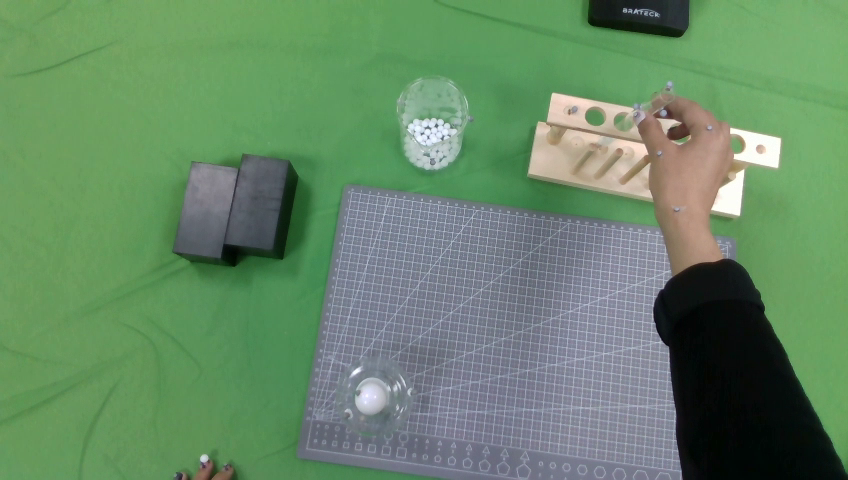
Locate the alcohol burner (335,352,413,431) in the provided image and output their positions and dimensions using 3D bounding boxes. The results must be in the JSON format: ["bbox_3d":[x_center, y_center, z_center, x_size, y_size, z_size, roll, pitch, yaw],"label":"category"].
[{"bbox_3d":[-0.049,0.148,0.591,0.078,0.119,0.077,1,77,-3],"label":"alcohol burner"}]

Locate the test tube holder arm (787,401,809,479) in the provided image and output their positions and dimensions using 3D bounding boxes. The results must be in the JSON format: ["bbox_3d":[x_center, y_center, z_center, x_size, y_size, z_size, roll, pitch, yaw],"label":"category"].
[{"bbox_3d":[0.390,0.212,0.641,0.010,0.015,0.087,26,78,-27],"label":"test tube holder arm"}]

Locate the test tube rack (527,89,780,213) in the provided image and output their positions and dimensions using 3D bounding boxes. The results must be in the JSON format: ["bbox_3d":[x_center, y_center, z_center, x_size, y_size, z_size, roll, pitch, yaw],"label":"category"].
[{"bbox_3d":[0.244,-0.095,0.666,0.242,0.085,0.066,12,78,1],"label":"test tube rack"}]

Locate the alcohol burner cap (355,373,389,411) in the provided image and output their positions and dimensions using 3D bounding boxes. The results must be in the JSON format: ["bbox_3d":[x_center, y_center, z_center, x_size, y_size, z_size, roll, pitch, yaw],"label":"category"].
[{"bbox_3d":[-0.049,0.142,0.556,0.034,0.048,0.034,0,84,-1],"label":"alcohol burner cap"}]

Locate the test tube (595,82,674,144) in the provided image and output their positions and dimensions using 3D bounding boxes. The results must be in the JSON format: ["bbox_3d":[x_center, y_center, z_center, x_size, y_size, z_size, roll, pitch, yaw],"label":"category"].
[{"bbox_3d":[0.210,-0.126,0.620,0.017,0.150,0.017,1,82,-7],"label":"test tube"}]

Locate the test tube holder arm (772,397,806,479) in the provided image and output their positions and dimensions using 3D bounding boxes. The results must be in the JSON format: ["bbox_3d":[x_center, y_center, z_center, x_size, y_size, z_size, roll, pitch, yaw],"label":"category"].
[{"bbox_3d":[0.371,0.252,0.630,0.013,0.015,0.178,25,78,-27],"label":"test tube holder arm"}]

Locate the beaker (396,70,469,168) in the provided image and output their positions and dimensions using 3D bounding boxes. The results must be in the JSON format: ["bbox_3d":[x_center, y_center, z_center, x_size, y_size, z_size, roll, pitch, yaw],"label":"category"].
[{"bbox_3d":[0.007,-0.123,0.659,0.074,0.100,0.083,11,78,1],"label":"beaker"}]
